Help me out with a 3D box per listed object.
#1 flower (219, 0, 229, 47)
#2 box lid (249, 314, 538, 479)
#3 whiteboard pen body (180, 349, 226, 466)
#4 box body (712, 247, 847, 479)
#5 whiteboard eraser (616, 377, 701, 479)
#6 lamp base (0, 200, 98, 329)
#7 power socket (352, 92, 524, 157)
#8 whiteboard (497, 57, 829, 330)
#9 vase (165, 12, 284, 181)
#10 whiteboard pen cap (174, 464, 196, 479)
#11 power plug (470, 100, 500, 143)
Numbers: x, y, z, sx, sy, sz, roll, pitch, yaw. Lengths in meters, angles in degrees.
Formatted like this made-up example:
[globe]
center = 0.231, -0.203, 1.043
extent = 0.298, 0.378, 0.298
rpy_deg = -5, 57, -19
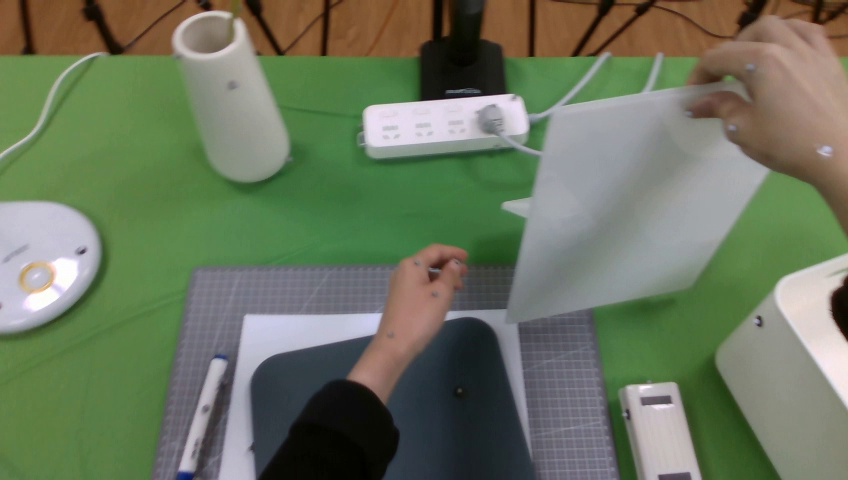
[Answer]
[flower]
center = -0.203, -0.189, 0.611
extent = 0.038, 0.362, 0.044
rpy_deg = 46, 59, 4
[box lid]
center = -0.019, 0.253, 0.565
extent = 0.264, 0.015, 0.368
rpy_deg = -10, 62, -7
[whiteboard pen body]
center = -0.219, 0.176, 0.594
extent = 0.017, 0.017, 0.139
rpy_deg = 6, 62, 3
[box body]
center = 0.467, 0.184, 0.531
extent = 0.254, 0.161, 0.360
rpy_deg = -17, 62, -11
[whiteboard eraser]
center = 0.227, 0.192, 0.590
extent = 0.056, 0.042, 0.111
rpy_deg = -2, 61, -5
[lamp base]
center = -0.459, -0.020, 0.613
extent = 0.178, 0.182, 0.160
rpy_deg = 28, 63, 17
[power socket]
center = 0.020, -0.151, 0.785
extent = 0.227, 0.033, 0.071
rpy_deg = -5, 61, -5
[whiteboard]
center = 0.175, -0.069, 0.577
extent = 0.217, 0.308, 0.142
rpy_deg = -10, 54, -7
[vase]
center = -0.224, -0.155, 0.685
extent = 0.098, 0.201, 0.097
rpy_deg = 0, 60, 0
[whiteboard pen cap]
center = -0.226, 0.228, 0.568
extent = 0.018, 0.018, 0.033
rpy_deg = 6, 62, 3
[power plug]
center = 0.075, -0.141, 0.755
extent = 0.035, 0.053, 0.072
rpy_deg = 4, 66, 1
